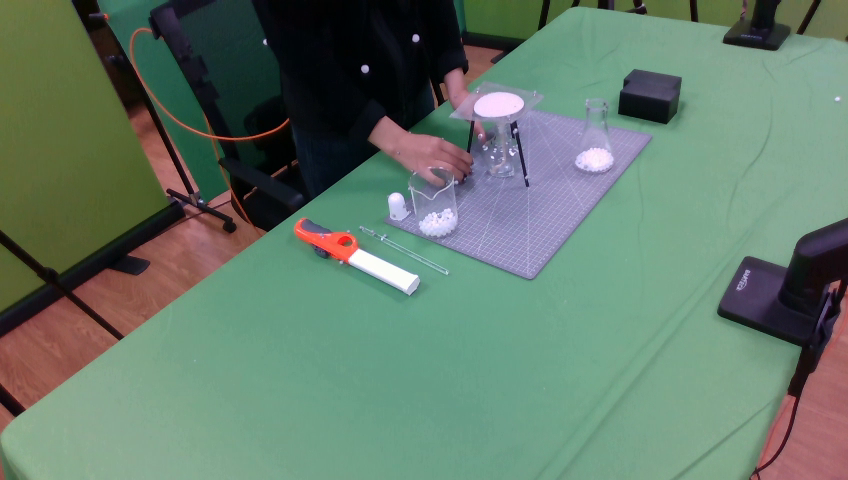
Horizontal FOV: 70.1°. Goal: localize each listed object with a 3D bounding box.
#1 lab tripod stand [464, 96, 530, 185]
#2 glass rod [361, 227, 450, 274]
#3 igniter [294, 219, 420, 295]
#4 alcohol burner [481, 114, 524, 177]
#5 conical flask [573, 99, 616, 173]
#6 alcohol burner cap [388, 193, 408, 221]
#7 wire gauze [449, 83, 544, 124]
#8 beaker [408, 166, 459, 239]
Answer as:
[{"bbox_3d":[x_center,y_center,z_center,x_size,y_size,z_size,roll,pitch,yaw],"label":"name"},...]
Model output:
[{"bbox_3d":[0.138,-0.182,1.082,0.148,0.132,0.147,-6,38,6],"label":"lab tripod stand"},{"bbox_3d":[-0.034,0.014,0.985,0.198,0.008,0.008,26,52,34],"label":"glass rod"},{"bbox_3d":[-0.118,0.022,0.977,0.274,0.025,0.057,24,60,34],"label":"igniter"},{"bbox_3d":[0.140,-0.174,1.088,0.078,0.119,0.077,-4,40,4],"label":"alcohol burner"},{"bbox_3d":[0.302,-0.184,1.061,0.075,0.122,0.075,-5,40,5],"label":"conical flask"},{"bbox_3d":[-0.047,-0.059,1.043,0.034,0.048,0.033,-6,41,5],"label":"alcohol burner cap"},{"bbox_3d":[0.126,-0.234,1.040,0.120,0.011,0.125,19,47,30],"label":"wire gauze"},{"bbox_3d":[0.018,-0.057,0.984,0.074,0.101,0.083,-6,41,5],"label":"beaker"}]
